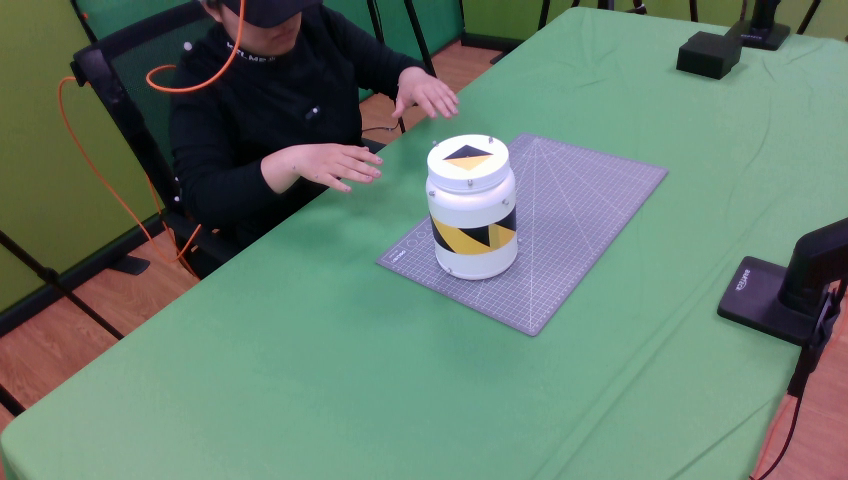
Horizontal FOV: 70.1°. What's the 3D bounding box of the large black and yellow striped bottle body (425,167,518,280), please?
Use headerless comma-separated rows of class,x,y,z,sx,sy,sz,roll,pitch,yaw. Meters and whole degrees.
large black and yellow striped bottle body,0.072,-0.047,0.894,0.131,0.185,0.130,-5,40,5

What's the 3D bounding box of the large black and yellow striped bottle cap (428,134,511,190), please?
large black and yellow striped bottle cap,0.062,-0.111,0.840,0.115,0.019,0.114,-5,41,5
